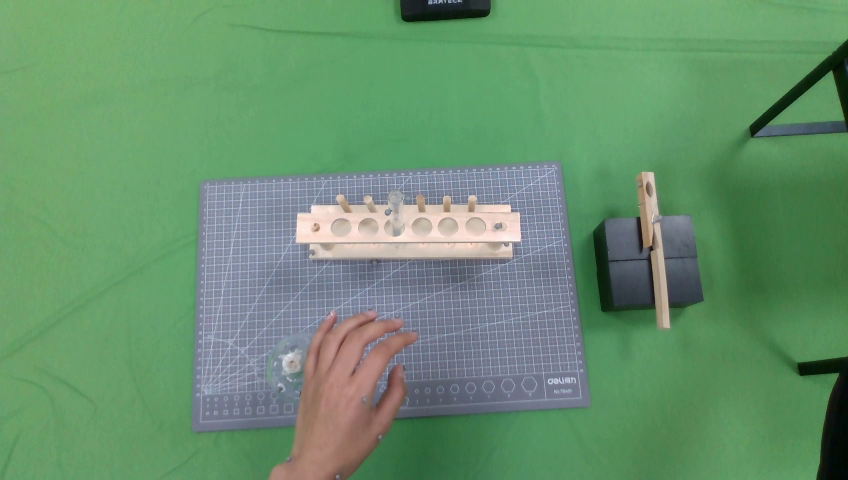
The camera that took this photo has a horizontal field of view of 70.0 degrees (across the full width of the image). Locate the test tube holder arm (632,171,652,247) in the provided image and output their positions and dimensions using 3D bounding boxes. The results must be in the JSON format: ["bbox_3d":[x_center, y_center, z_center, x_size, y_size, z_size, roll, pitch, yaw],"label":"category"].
[{"bbox_3d":[0.249,-0.036,0.689,0.010,0.015,0.087,0,77,-11],"label":"test tube holder arm"}]

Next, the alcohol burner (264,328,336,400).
[{"bbox_3d":[-0.134,0.130,0.643,0.078,0.119,0.077,1,75,-2],"label":"alcohol burner"}]

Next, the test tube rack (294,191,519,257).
[{"bbox_3d":[-0.018,-0.022,0.696,0.242,0.085,0.066,0,76,-1],"label":"test tube rack"}]

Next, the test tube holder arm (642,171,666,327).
[{"bbox_3d":[0.256,0.008,0.680,0.013,0.015,0.177,0,76,-11],"label":"test tube holder arm"}]

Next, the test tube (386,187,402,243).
[{"bbox_3d":[-0.031,-0.023,0.644,0.017,0.151,0.017,1,74,-2],"label":"test tube"}]
